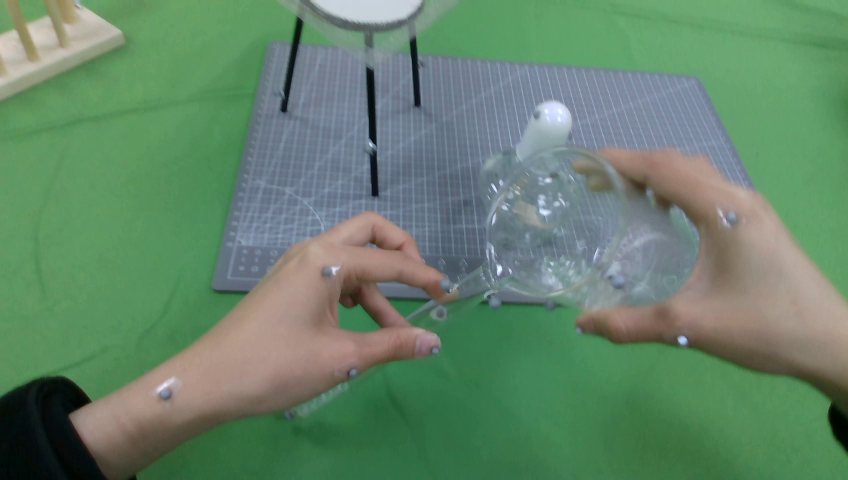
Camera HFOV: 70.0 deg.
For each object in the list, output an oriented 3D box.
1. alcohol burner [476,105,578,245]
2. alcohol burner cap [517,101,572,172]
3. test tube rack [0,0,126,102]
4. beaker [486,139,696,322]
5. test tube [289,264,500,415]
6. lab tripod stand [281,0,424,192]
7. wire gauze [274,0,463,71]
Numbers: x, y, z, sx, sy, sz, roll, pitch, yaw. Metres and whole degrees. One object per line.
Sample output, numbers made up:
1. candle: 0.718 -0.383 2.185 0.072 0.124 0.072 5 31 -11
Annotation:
1. alcohol burner: 0.080 -0.051 0.444 0.078 0.120 0.077 5 49 -6
2. alcohol burner cap: 0.085 -0.073 0.416 0.034 0.048 0.033 3 56 -4
3. test tube rack: -0.377 -0.160 0.488 0.066 0.086 0.242 34 54 18
4. beaker: 0.090 0.003 0.318 0.101 0.084 0.073 20 31 -44
5. test tube: -0.022 0.058 0.331 0.017 0.150 0.017 42 25 -25
6. lab tripod stand: -0.049 -0.133 0.480 0.149 0.132 0.147 5 51 -6
7. wire gauze: -0.044 -0.176 0.427 0.124 0.011 0.121 35 55 17
